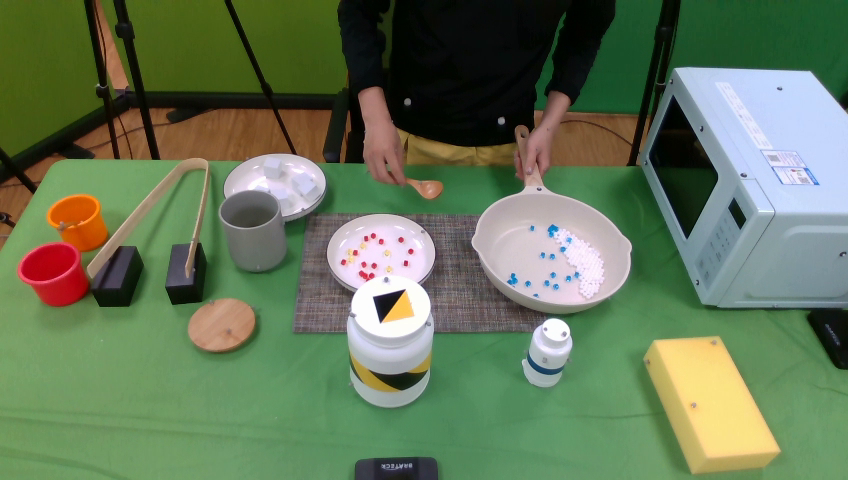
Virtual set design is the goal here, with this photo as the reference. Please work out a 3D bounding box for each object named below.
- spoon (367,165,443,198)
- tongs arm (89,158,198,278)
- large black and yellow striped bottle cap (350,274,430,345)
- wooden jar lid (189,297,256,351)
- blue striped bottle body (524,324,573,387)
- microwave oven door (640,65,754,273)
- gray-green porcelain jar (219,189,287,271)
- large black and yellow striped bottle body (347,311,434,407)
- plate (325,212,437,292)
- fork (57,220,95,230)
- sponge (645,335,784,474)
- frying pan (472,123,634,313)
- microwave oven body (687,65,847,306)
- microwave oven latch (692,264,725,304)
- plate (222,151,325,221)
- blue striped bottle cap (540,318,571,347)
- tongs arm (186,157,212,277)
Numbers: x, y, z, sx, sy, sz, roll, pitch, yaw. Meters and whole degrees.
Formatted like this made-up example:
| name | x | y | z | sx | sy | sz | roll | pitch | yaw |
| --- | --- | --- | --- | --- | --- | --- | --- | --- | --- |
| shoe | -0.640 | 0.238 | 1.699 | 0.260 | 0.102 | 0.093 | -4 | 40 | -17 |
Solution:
| name | x | y | z | sx | sy | sz | roll | pitch | yaw |
| --- | --- | --- | --- | --- | --- | --- | --- | --- | --- |
| spoon | -0.041 | -0.123 | 1.199 | 0.193 | 0.022 | 0.041 | 23 | 75 | 30 |
| tongs arm | -0.530 | -0.057 | 1.164 | 0.028 | 0.028 | 0.385 | 1 | 36 | 8 |
| large black and yellow striped bottle cap | -0.048 | 0.097 | 0.868 | 0.115 | 0.019 | 0.114 | 3 | 48 | -3 |
| wooden jar lid | -0.342 | 0.145 | 1.033 | 0.108 | 0.021 | 0.107 | 2 | 45 | -2 |
| blue striped bottle body | 0.200 | 0.178 | 0.970 | 0.063 | 0.121 | 0.062 | 2 | 46 | -2 |
| microwave oven door | 0.523 | -0.147 | 1.193 | 0.039 | 0.245 | 0.353 | 0 | 47 | -3 |
| gray-green porcelain jar | -0.310 | -0.014 | 1.113 | 0.106 | 0.127 | 0.105 | 2 | 46 | -2 |
| large black and yellow striped bottle body | -0.052 | 0.157 | 0.929 | 0.131 | 0.185 | 0.130 | 2 | 47 | -2 |
| plate | -0.080 | 0.030 | 1.143 | 0.209 | 0.038 | 0.208 | 3 | 46 | -2 |
| fork | -0.624 | -0.027 | 1.087 | 0.028 | 0.207 | 0.018 | -3 | 92 | -17 |
| sponge | 0.449 | 0.253 | 0.956 | 0.118 | 0.061 | 0.205 | -4 | 46 | -7 |
| frying pan | 0.235 | -0.060 | 1.207 | 0.307 | 0.103 | 0.484 | 2 | 54 | -6 |
| microwave oven body | 0.669 | -0.111 | 1.176 | 0.326 | 0.261 | 0.439 | 0 | 46 | -3 |
| microwave oven latch | 0.522 | 0.081 | 1.116 | 0.030 | 0.029 | 0.078 | 1 | 46 | -2 |
| plate | -0.310 | -0.106 | 1.263 | 0.208 | 0.039 | 0.206 | 2 | 47 | -2 |
| blue striped bottle cap | 0.203 | 0.142 | 0.933 | 0.044 | 0.021 | 0.044 | 3 | 49 | -4 |
| tongs arm | -0.445 | -0.058 | 1.168 | 0.051 | 0.026 | 0.382 | -5 | 37 | -6 |
